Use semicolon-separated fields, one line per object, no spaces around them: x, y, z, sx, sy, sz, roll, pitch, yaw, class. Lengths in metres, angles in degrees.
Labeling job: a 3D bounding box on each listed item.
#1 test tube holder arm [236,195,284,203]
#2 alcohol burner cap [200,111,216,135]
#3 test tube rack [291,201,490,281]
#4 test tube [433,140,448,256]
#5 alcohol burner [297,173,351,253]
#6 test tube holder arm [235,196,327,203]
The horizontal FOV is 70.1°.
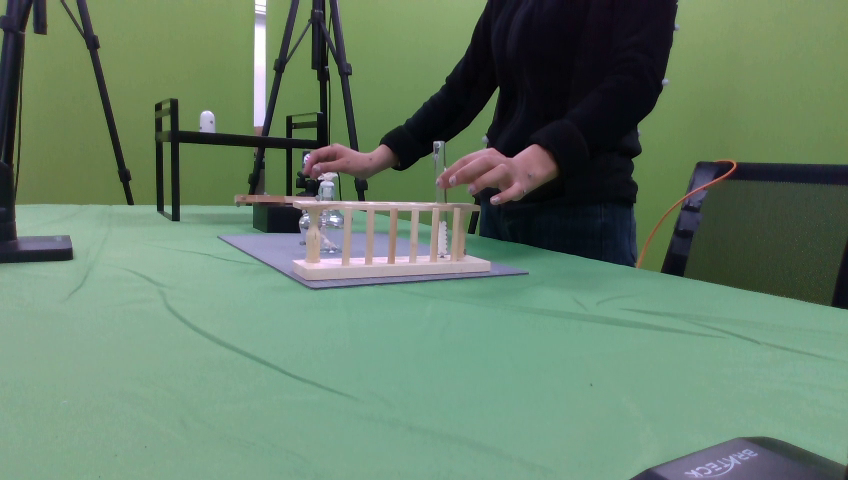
-0.305;-0.075;1.123;0.088;0.015;0.010;-2;4;-33;test tube holder arm
-0.448;-0.243;1.255;0.034;0.048;0.034;2;7;0;alcohol burner cap
-0.035;-0.002;0.745;0.243;0.085;0.066;-1;8;-28;test tube rack
0.021;-0.054;0.785;0.017;0.150;0.017;-2;8;1;test tube
-0.146;-0.040;0.894;0.078;0.119;0.078;5;7;0;alcohol burner
-0.270;-0.077;1.153;0.179;0.015;0.013;-2;4;-34;test tube holder arm
